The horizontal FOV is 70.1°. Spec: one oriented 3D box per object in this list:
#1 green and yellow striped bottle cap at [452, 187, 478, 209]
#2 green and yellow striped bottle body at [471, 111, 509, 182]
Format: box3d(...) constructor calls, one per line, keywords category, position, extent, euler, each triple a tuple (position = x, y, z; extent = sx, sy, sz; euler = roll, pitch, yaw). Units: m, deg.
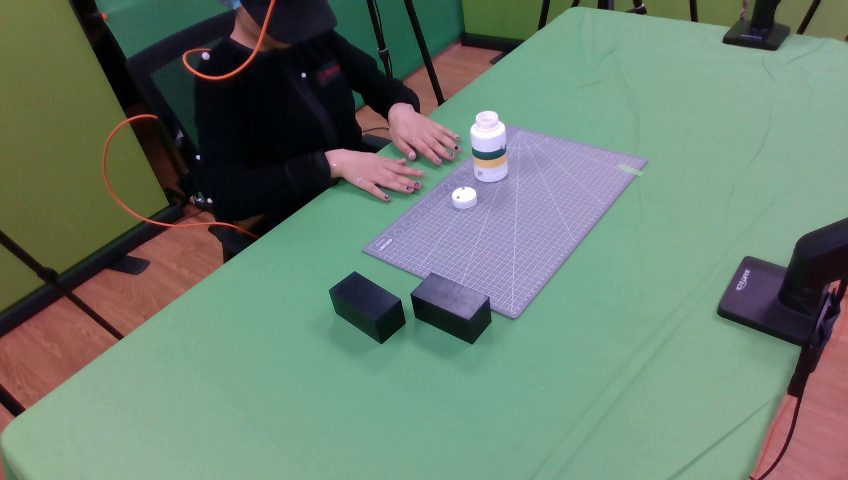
box3d(category="green and yellow striped bottle cap", position=(0.072, -0.074, 1.057), extent=(0.045, 0.020, 0.045), euler=(-6, 40, 6))
box3d(category="green and yellow striped bottle body", position=(0.117, -0.169, 1.079), extent=(0.063, 0.120, 0.063), euler=(-6, 40, 5))
